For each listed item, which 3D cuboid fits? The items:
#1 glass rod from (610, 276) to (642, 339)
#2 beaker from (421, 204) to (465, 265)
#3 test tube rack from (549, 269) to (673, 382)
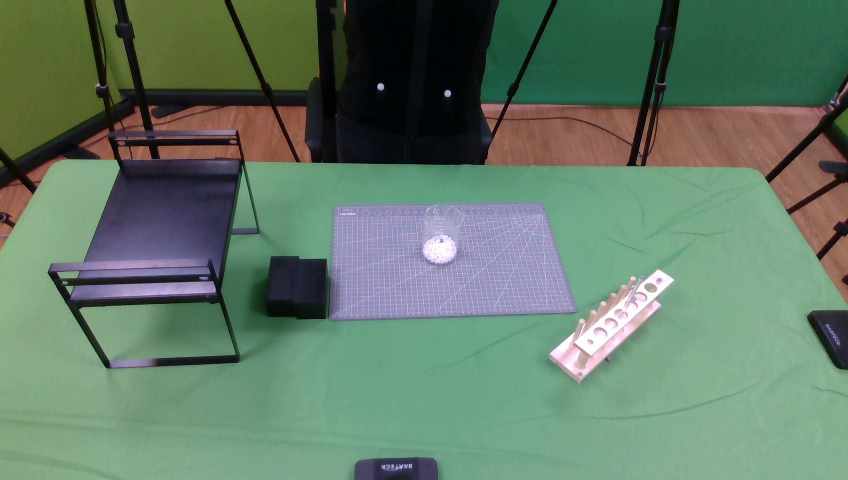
[{"bbox_3d":[0.322,0.113,0.976,0.008,0.201,0.008,-1,54,1],"label":"glass rod"},{"bbox_3d":[0.034,-0.008,1.151,0.084,0.101,0.073,-10,48,-13],"label":"beaker"},{"bbox_3d":[0.325,0.134,1.047,0.242,0.085,0.066,-32,56,-30],"label":"test tube rack"}]
